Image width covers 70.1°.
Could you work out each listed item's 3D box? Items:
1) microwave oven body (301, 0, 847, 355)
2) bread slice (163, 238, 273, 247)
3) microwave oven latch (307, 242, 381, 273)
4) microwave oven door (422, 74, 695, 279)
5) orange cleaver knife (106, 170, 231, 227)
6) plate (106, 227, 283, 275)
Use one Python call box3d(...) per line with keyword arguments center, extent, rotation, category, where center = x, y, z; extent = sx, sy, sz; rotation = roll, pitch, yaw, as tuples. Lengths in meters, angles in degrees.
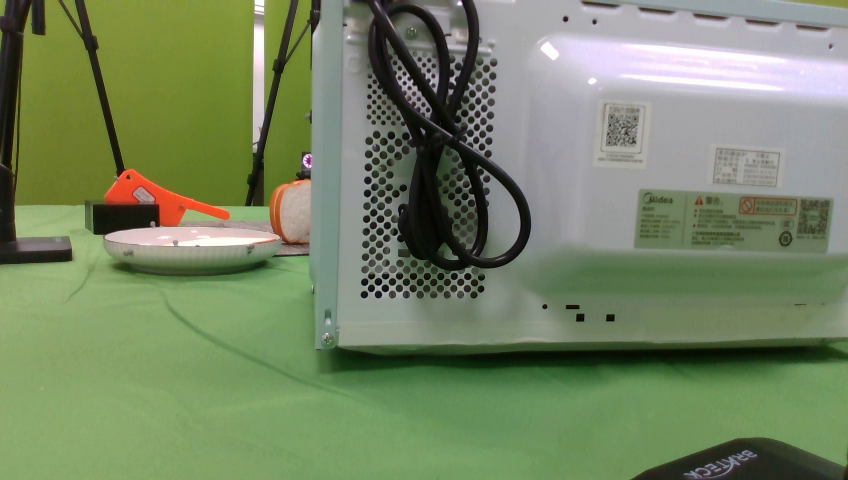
box3d(center=(0.120, -0.053, 0.535), extent=(0.443, 0.260, 0.325), rotation=(2, 7, -11), category="microwave oven body")
box3d(center=(-0.268, 0.014, 0.759), extent=(0.106, 0.018, 0.135), rotation=(2, 8, 21), category="bread slice")
box3d(center=(-0.086, 0.019, 0.656), extent=(0.079, 0.029, 0.030), rotation=(2, 7, -10), category="microwave oven latch")
box3d(center=(0.159, -0.091, 0.806), extent=(0.354, 0.243, 0.039), rotation=(7, 9, 31), category="microwave oven door")
box3d(center=(-0.458, -0.060, 1.097), extent=(0.212, 0.077, 0.012), rotation=(23, -4, -38), category="orange cleaver knife")
box3d(center=(-0.288, 0.013, 0.772), extent=(0.208, 0.039, 0.207), rotation=(3, 7, 0), category="plate")
